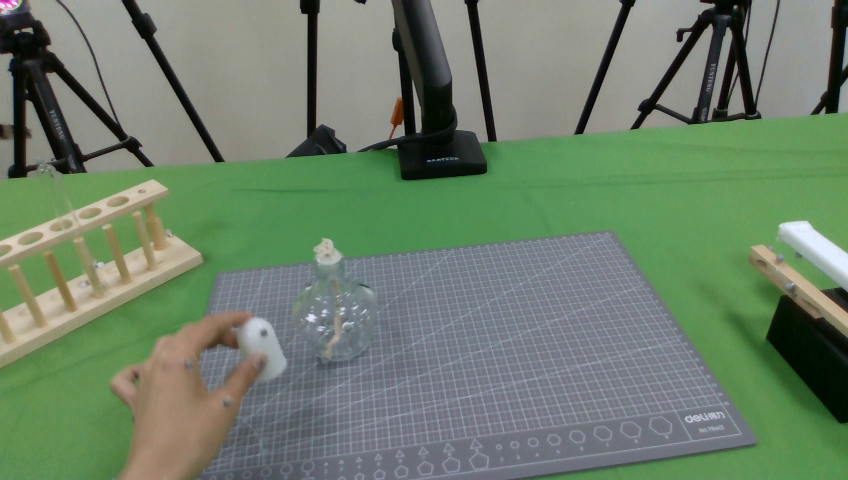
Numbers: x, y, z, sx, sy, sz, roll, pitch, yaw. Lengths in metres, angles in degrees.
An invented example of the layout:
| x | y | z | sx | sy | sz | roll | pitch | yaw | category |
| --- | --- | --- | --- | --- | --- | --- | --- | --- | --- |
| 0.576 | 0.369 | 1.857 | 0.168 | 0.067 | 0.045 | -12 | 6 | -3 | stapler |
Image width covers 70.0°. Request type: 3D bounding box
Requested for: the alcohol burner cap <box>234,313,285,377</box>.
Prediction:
| x | y | z | sx | sy | sz | roll | pitch | yaw | category |
| --- | --- | --- | --- | --- | --- | --- | --- | --- | --- |
| -0.130 | 0.079 | 0.472 | 0.034 | 0.048 | 0.033 | -5 | 29 | 3 | alcohol burner cap |

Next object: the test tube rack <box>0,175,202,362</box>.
| x | y | z | sx | sy | sz | roll | pitch | yaw | category |
| --- | --- | --- | --- | --- | --- | --- | --- | --- | --- |
| -0.356 | 0.027 | 0.604 | 0.066 | 0.086 | 0.242 | 27 | 44 | 34 | test tube rack |

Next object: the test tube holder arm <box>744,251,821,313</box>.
| x | y | z | sx | sy | sz | roll | pitch | yaw | category |
| --- | --- | --- | --- | --- | --- | --- | --- | --- | --- |
| 0.318 | 0.034 | 0.535 | 0.015 | 0.010 | 0.087 | -15 | 34 | -6 | test tube holder arm |

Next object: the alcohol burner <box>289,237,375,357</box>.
| x | y | z | sx | sy | sz | roll | pitch | yaw | category |
| --- | --- | --- | --- | --- | --- | --- | --- | --- | --- |
| -0.082 | 0.045 | 0.534 | 0.078 | 0.120 | 0.077 | 0 | 37 | 1 | alcohol burner |

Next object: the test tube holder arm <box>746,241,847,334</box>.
| x | y | z | sx | sy | sz | roll | pitch | yaw | category |
| --- | --- | --- | --- | --- | --- | --- | --- | --- | --- |
| 0.328 | 0.053 | 0.495 | 0.015 | 0.013 | 0.176 | -15 | 34 | -6 | test tube holder arm |

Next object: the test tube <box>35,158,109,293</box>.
| x | y | z | sx | sy | sz | roll | pitch | yaw | category |
| --- | --- | --- | --- | --- | --- | --- | --- | --- | --- |
| -0.333 | -0.010 | 0.577 | 0.017 | 0.151 | 0.017 | -1 | 36 | 1 | test tube |

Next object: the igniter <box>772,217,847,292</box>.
| x | y | z | sx | sy | sz | roll | pitch | yaw | category |
| --- | --- | --- | --- | --- | --- | --- | --- | --- | --- |
| 0.381 | 0.056 | 0.490 | 0.057 | 0.025 | 0.273 | -7 | 32 | -5 | igniter |
